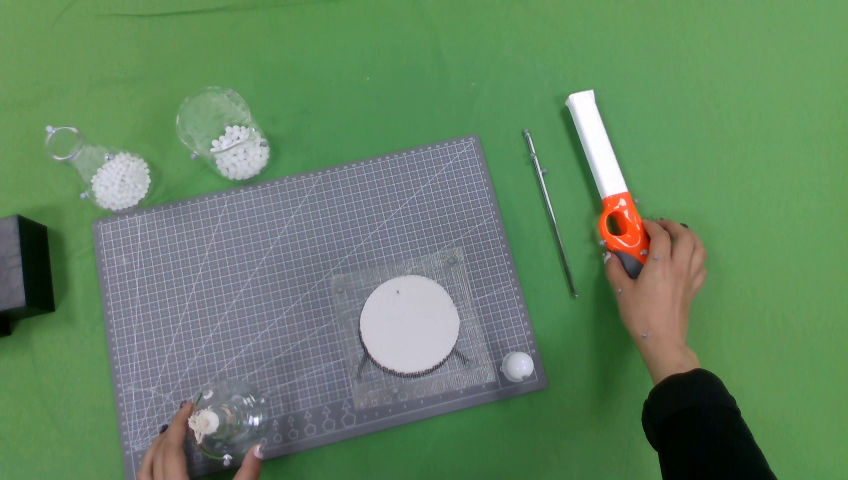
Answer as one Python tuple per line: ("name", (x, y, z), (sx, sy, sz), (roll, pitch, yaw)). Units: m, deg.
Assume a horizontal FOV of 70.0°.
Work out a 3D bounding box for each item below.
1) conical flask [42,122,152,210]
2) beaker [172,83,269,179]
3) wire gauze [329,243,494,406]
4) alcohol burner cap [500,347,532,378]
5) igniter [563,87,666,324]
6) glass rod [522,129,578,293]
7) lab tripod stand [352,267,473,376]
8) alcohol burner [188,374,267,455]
("conical flask", (-0.347, -0.082, 0.638), (0.075, 0.122, 0.075), (0, 77, 0))
("beaker", (-0.212, -0.112, 0.657), (0.084, 0.100, 0.074), (22, 79, 4))
("wire gauze", (-0.013, 0.073, 0.527), (0.125, 0.011, 0.121), (-12, 79, -1))
("alcohol burner cap", (0.098, 0.127, 0.631), (0.034, 0.048, 0.033), (0, 77, 0))
("igniter", (0.212, -0.043, 0.678), (0.057, 0.025, 0.275), (-13, 78, -10))
("glass rod", (0.142, -0.036, 0.686), (0.008, 0.008, 0.198), (-14, 78, -3))
("lab tripod stand", (-0.017, 0.090, 0.593), (0.148, 0.132, 0.147), (0, 79, 0))
("alcohol burner", (-0.195, 0.170, 0.585), (0.078, 0.119, 0.077), (0, 79, -1))
